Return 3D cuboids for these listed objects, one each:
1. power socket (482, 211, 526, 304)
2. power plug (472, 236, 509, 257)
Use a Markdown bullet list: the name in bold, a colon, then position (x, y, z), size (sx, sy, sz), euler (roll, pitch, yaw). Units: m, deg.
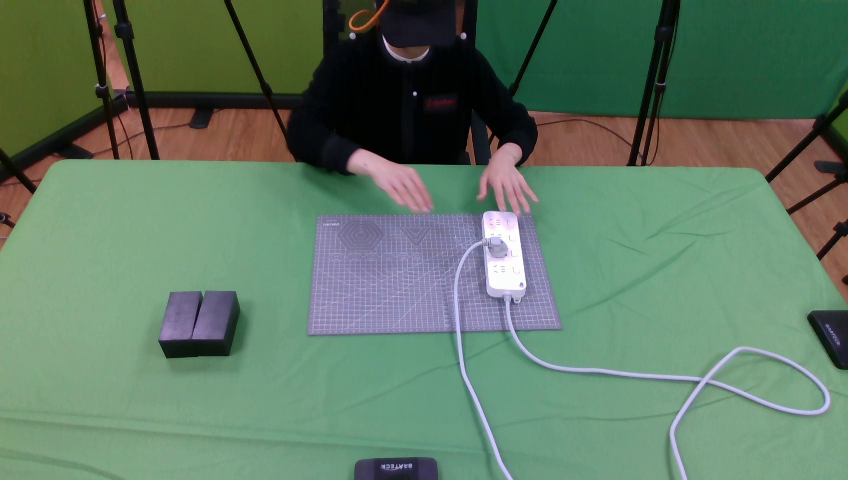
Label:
- **power socket**: position (0.153, 0.025, 1.174), size (0.072, 0.033, 0.225), euler (1, 46, 0)
- **power plug**: position (0.126, 0.013, 1.149), size (0.072, 0.053, 0.035), euler (11, 46, 5)
